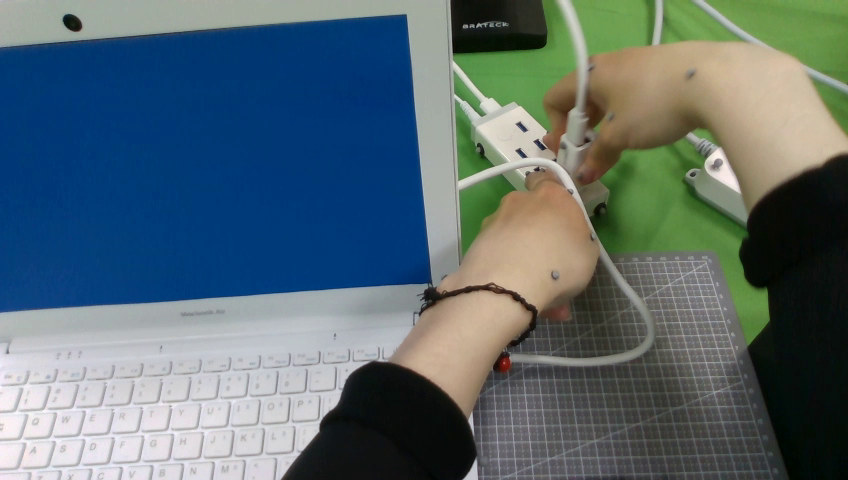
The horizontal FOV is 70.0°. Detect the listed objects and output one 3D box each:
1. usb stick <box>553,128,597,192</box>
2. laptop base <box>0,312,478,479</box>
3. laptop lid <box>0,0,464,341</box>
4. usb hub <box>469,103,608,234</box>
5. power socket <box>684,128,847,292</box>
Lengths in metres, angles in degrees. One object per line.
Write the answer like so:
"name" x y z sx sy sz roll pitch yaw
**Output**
"usb stick" 0.113 -0.056 0.456 0.027 0.059 0.021 -40 66 -10
"laptop base" -0.143 0.160 0.360 0.354 0.023 0.233 -4 57 1
"laptop lid" -0.157 -0.025 0.349 0.357 0.244 0.013 -5 41 2
"usb hub" 0.090 -0.062 0.497 0.049 0.025 0.124 -28 57 -15
"power socket" 0.303 -0.008 0.440 0.072 0.033 0.224 -37 60 -21
